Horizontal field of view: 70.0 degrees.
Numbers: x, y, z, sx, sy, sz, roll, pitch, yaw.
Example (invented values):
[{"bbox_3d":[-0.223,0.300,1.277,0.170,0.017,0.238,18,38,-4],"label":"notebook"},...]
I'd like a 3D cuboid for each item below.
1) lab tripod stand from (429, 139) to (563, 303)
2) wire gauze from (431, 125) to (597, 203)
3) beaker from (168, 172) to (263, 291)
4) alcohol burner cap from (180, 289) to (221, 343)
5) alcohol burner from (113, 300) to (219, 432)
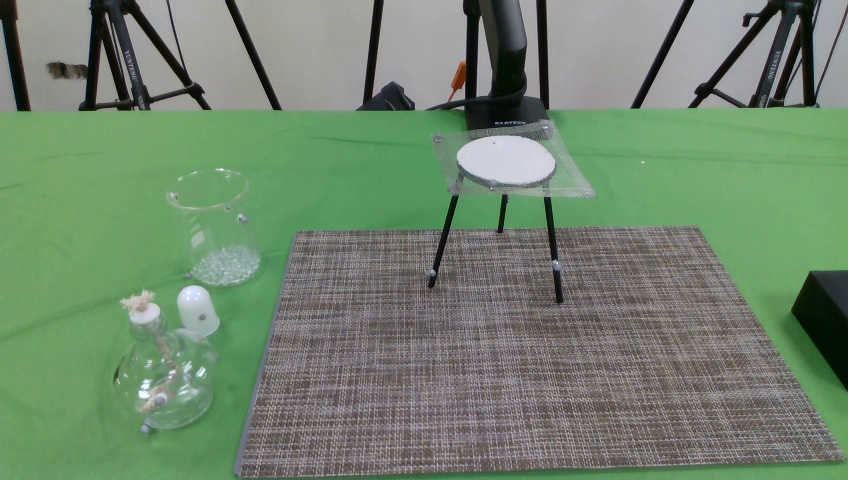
[{"bbox_3d":[0.077,-0.017,0.579,0.148,0.132,0.147,2,36,-1],"label":"lab tripod stand"},{"bbox_3d":[0.074,-0.068,0.534,0.125,0.011,0.120,-3,38,-6],"label":"wire gauze"},{"bbox_3d":[-0.201,-0.008,0.600,0.074,0.101,0.083,8,37,10],"label":"beaker"},{"bbox_3d":[-0.205,0.066,0.549,0.034,0.048,0.033,1,37,0],"label":"alcohol burner cap"},{"bbox_3d":[-0.198,0.089,0.458,0.078,0.120,0.077,2,38,-1],"label":"alcohol burner"}]
